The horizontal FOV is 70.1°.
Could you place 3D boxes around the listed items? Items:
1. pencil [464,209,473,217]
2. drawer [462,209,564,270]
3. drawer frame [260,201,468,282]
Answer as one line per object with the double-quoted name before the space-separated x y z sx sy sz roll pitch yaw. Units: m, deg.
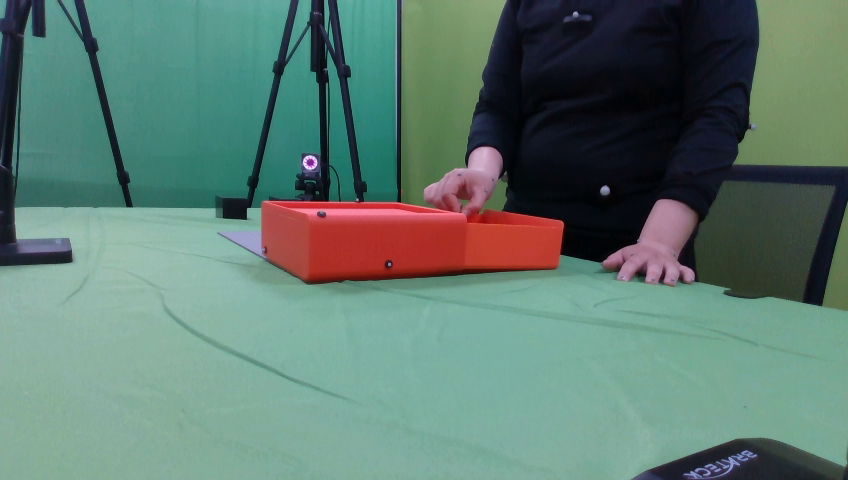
"pencil" 0.030 -0.011 0.876 0.012 0.012 0.194 7 26 28
"drawer" 0.059 -0.005 0.879 0.213 0.073 0.193 1 9 -31
"drawer frame" -0.084 -0.006 0.794 0.215 0.082 0.200 -2 9 -30
